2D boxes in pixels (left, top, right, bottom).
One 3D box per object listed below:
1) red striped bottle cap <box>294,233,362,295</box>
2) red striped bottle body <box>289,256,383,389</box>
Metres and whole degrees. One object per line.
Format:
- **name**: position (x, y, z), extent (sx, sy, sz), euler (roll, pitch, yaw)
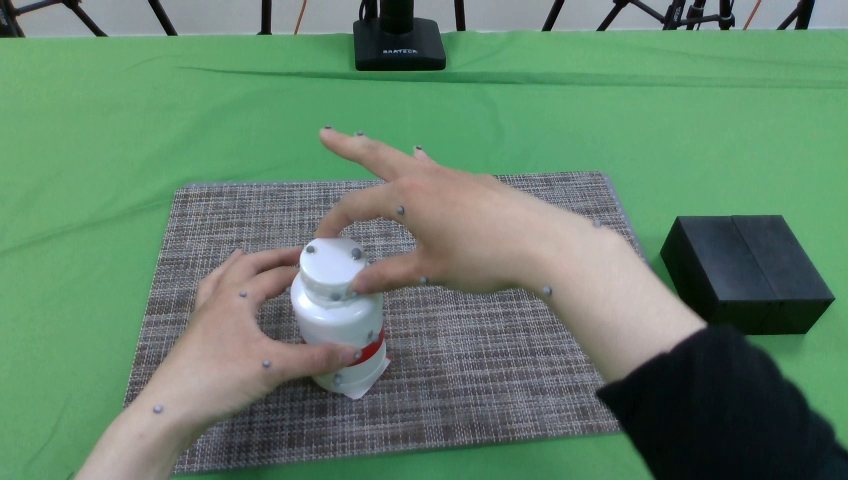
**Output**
- **red striped bottle cap**: position (-0.062, 0.015, 0.396), extent (0.044, 0.018, 0.044), euler (9, 39, -7)
- **red striped bottle body**: position (-0.062, 0.053, 0.441), extent (0.063, 0.121, 0.062), euler (1, 49, -1)
